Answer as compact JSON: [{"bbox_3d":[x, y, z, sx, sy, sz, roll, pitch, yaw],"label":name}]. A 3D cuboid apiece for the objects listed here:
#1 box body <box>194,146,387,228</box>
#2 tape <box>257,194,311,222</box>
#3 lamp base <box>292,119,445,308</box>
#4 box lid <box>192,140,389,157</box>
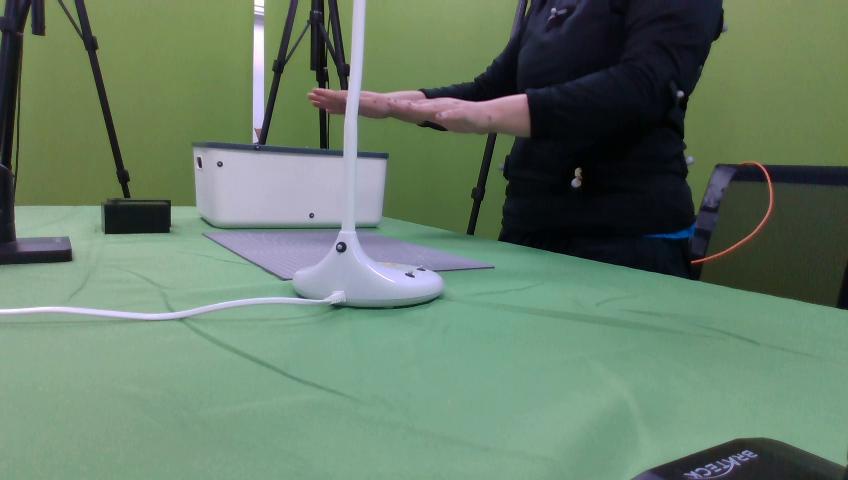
[{"bbox_3d":[-0.288,-0.118,1.291,0.366,0.160,0.253,-1,8,-28],"label":"box body"},{"bbox_3d":[-0.301,-0.070,1.297,0.117,0.052,0.117,3,7,0],"label":"tape"},{"bbox_3d":[-0.056,-0.030,0.616,0.160,0.180,0.179,4,10,8],"label":"lamp base"},{"bbox_3d":[-0.287,-0.191,1.281,0.373,0.015,0.262,0,8,-28],"label":"box lid"}]
